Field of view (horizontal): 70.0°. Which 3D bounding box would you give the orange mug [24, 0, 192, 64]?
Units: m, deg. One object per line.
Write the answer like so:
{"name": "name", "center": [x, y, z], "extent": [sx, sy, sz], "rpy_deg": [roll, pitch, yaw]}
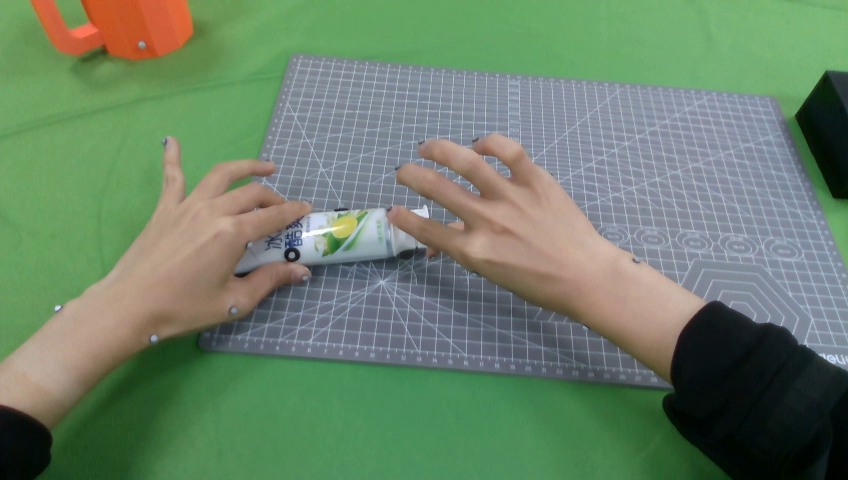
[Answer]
{"name": "orange mug", "center": [-0.273, -0.212, 0.522], "extent": [0.083, 0.101, 0.126], "rpy_deg": [40, 56, 23]}

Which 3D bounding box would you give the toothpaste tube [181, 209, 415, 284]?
{"name": "toothpaste tube", "center": [-0.083, -0.001, 0.421], "extent": [0.165, 0.035, 0.054], "rpy_deg": [-6, 49, -3]}

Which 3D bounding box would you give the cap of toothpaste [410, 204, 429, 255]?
{"name": "cap of toothpaste", "center": [-0.003, -0.007, 0.424], "extent": [0.011, 0.037, 0.037], "rpy_deg": [-8, 54, -7]}
